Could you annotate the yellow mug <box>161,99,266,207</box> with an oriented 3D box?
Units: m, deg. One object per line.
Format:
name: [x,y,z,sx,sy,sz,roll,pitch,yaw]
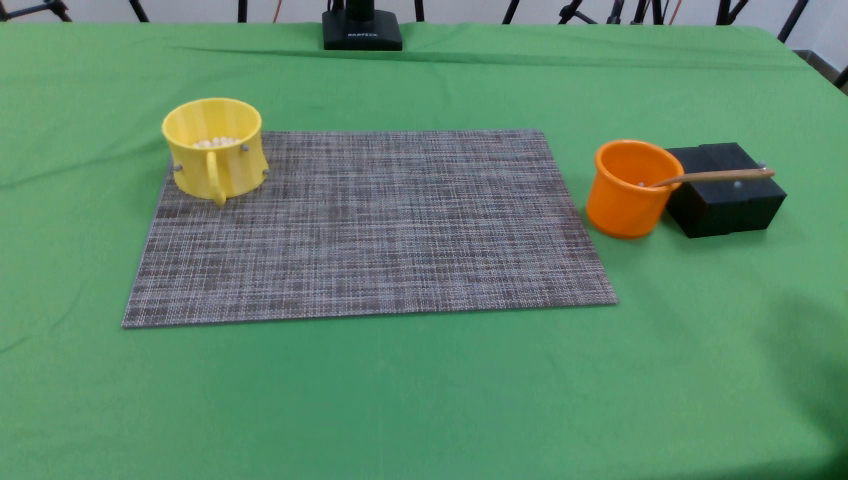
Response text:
yellow mug: [-0.222,-0.089,0.648,0.100,0.064,0.129,-6,45,-13]

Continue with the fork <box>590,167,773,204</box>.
fork: [0.246,-0.055,0.605,0.028,0.018,0.206,-26,7,-27]
